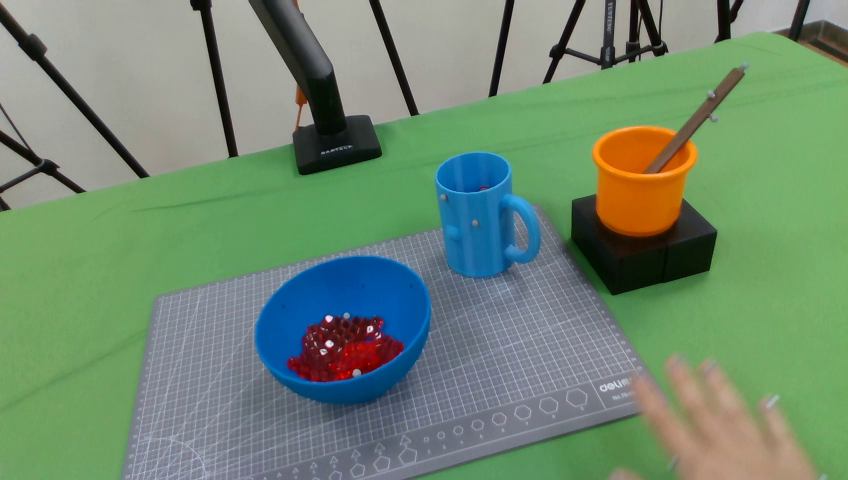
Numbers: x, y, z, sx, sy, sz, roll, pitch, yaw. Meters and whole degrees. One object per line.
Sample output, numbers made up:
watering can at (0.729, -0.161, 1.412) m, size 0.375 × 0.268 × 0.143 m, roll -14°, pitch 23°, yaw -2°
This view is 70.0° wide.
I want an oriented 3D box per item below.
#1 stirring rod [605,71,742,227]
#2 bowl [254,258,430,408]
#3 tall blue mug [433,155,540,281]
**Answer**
stirring rod at (0.229, -0.082, 0.564) m, size 0.176 × 0.006 × 0.014 m, roll -53°, pitch 37°, yaw 15°
bowl at (-0.064, 0.094, 0.534) m, size 0.151 × 0.077 × 0.150 m, roll -6°, pitch 39°, yaw 5°
tall blue mug at (0.068, -0.021, 0.622) m, size 0.107 × 0.109 × 0.077 m, roll 3°, pitch 40°, yaw 16°
